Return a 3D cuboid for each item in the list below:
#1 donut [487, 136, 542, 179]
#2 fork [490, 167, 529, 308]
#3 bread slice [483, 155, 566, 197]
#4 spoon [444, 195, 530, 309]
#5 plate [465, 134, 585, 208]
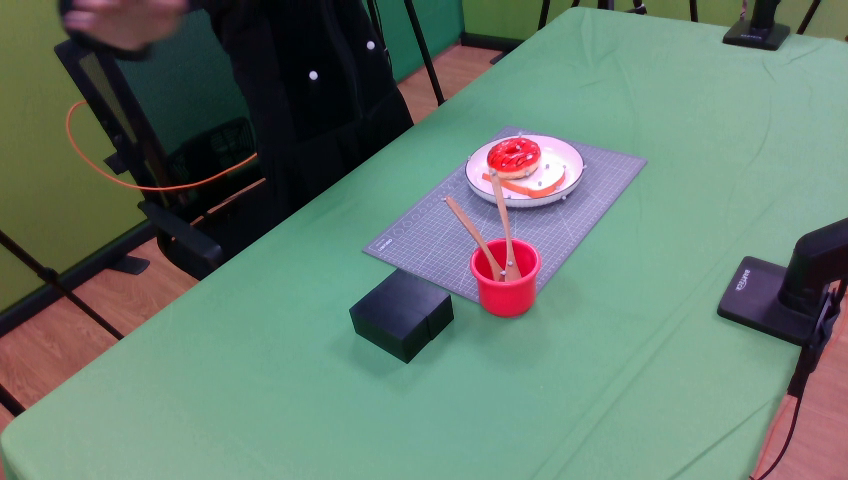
[{"bbox_3d":[0.159,-0.147,1.068,0.099,0.048,0.098,-9,39,8],"label":"donut"},{"bbox_3d":[0.118,-0.006,0.857,0.028,0.018,0.206,-7,81,-14],"label":"fork"},{"bbox_3d":[0.187,-0.121,1.076,0.130,0.019,0.105,28,53,36],"label":"bread slice"},{"bbox_3d":[0.087,0.015,0.850,0.042,0.021,0.193,-32,89,-30],"label":"spoon"},{"bbox_3d":[0.178,-0.120,1.075,0.209,0.038,0.208,-5,40,5],"label":"plate"}]
